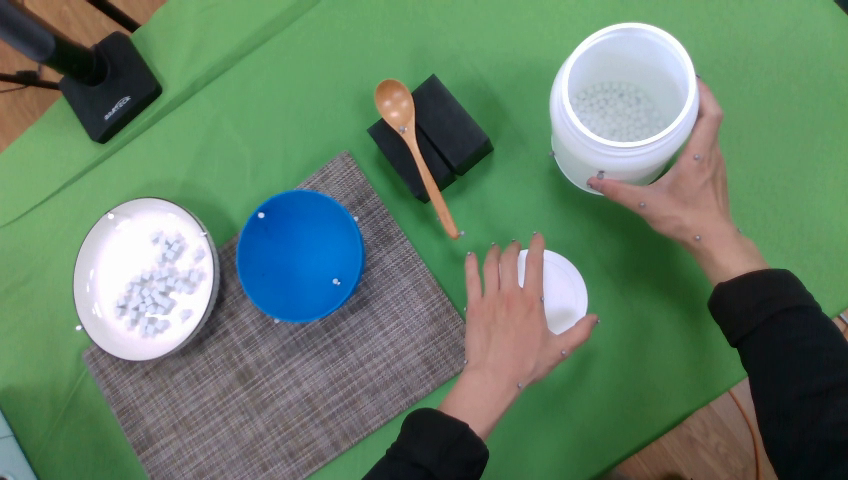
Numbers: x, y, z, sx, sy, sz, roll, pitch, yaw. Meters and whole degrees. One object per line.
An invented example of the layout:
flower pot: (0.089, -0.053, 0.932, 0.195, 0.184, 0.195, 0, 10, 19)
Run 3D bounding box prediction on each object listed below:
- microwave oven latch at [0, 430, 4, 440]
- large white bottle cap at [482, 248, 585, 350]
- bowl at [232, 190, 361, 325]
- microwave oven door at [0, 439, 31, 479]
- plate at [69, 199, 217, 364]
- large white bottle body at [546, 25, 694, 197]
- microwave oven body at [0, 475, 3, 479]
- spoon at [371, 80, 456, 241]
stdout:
microwave oven latch: (-0.587, 0.235, 0.792, 0.030, 0.029, 0.079, -37, 80, 6)
large white bottle cap: (0.123, 0.067, 0.683, 0.114, 0.018, 0.114, -1, 85, 12)
bowl: (-0.136, 0.022, 0.707, 0.151, 0.077, 0.151, -1, 85, 12)
microwave oven door: (-0.481, 0.398, 0.653, 0.039, 0.245, 0.354, -39, 79, 6)
plate: (-0.353, 0.053, 0.773, 0.208, 0.038, 0.208, -2, 83, 13)
large white bottle body: (0.187, -0.121, 0.598, 0.130, 0.185, 0.130, -1, 84, 12)
microwave oven body: (-0.619, 0.455, 0.683, 0.326, 0.261, 0.439, -38, 79, 6)
spoon: (-0.009, -0.087, 0.675, 0.041, 0.022, 0.193, -24, 86, 5)
